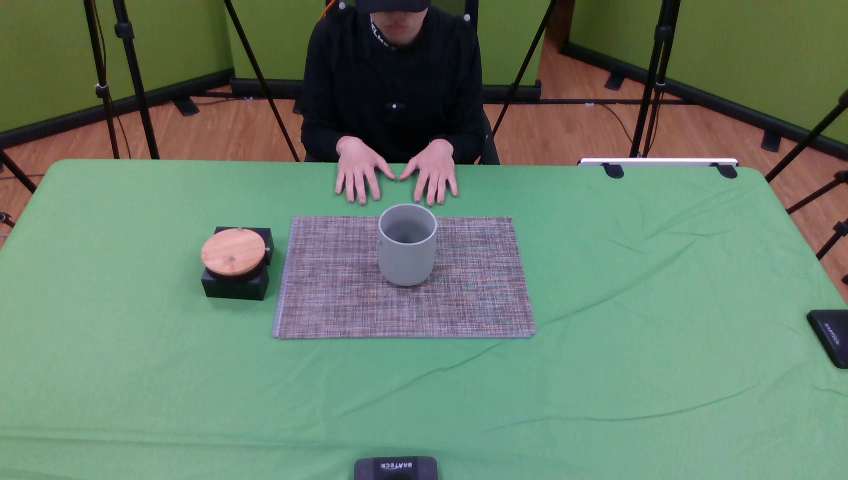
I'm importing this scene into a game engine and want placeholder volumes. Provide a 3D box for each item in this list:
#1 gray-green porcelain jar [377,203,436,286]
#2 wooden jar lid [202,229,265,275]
[{"bbox_3d":[-0.033,0.014,1.106,0.106,0.127,0.105,2,46,-2],"label":"gray-green porcelain jar"},{"bbox_3d":[-0.340,0.023,1.084,0.108,0.021,0.107,3,45,-2],"label":"wooden jar lid"}]
